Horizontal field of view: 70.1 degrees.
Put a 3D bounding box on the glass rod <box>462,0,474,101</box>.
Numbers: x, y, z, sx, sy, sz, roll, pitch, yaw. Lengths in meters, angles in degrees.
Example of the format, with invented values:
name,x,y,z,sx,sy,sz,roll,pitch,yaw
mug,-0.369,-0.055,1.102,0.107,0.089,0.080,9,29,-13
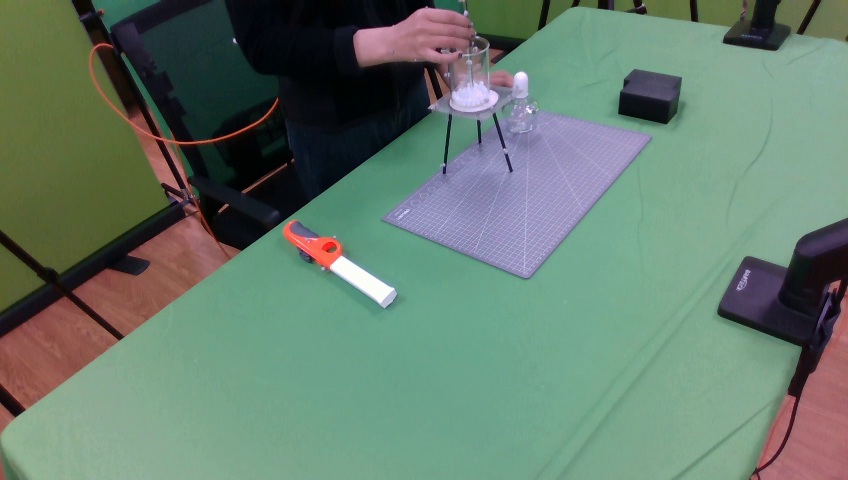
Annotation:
name,x,y,z,sx,sy,sz,roll,pitch,yaw
glass rod,0.070,-0.317,0.981,0.008,0.200,0.008,-5,39,5

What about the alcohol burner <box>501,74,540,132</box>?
name,x,y,z,sx,sy,sz,roll,pitch,yaw
alcohol burner,0.191,-0.275,1.194,0.078,0.119,0.077,-4,42,4

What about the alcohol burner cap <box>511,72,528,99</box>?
name,x,y,z,sx,sy,sz,roll,pitch,yaw
alcohol burner cap,0.185,-0.302,1.171,0.034,0.048,0.033,-2,42,2

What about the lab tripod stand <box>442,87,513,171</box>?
name,x,y,z,sx,sy,sz,roll,pitch,yaw
lab tripod stand,0.097,-0.200,1.108,0.148,0.132,0.147,-4,40,4

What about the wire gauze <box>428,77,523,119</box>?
name,x,y,z,sx,sy,sz,roll,pitch,yaw
wire gauze,0.090,-0.248,1.063,0.120,0.011,0.125,24,48,30

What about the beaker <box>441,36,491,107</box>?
name,x,y,z,sx,sy,sz,roll,pitch,yaw
beaker,0.074,-0.286,1.036,0.084,0.101,0.073,-1,41,8

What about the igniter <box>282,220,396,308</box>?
name,x,y,z,sx,sy,sz,roll,pitch,yaw
igniter,-0.146,0.032,0.966,0.274,0.025,0.057,30,64,37
